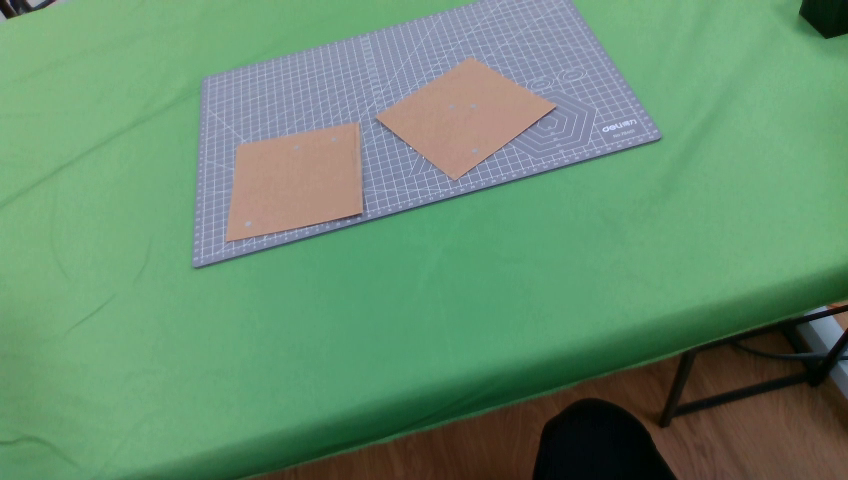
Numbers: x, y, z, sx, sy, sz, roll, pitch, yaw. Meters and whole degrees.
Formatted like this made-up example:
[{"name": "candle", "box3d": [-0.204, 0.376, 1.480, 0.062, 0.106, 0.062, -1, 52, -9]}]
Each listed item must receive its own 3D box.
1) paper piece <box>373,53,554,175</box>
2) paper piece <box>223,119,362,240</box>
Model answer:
[{"name": "paper piece", "box3d": [0.038, -0.135, 0.621, 0.135, 0.004, 0.134, -37, 54, -16]}, {"name": "paper piece", "box3d": [-0.130, -0.065, 0.606, 0.138, 0.009, 0.134, -11, 49, 5]}]
